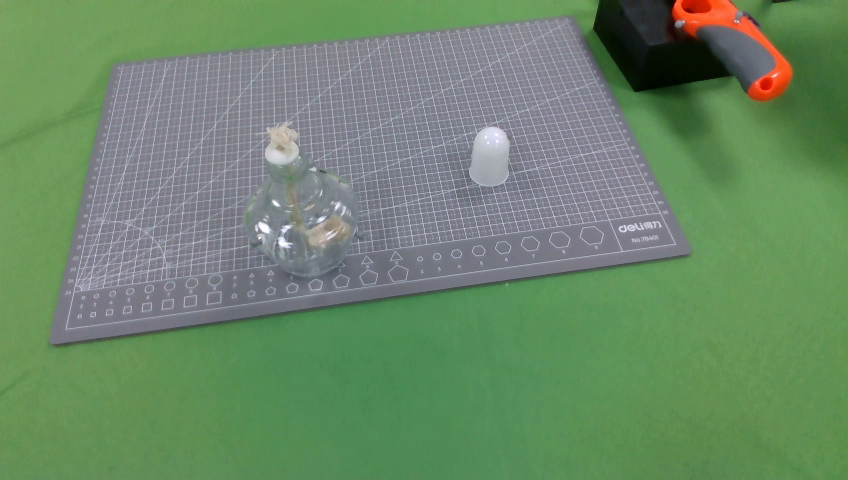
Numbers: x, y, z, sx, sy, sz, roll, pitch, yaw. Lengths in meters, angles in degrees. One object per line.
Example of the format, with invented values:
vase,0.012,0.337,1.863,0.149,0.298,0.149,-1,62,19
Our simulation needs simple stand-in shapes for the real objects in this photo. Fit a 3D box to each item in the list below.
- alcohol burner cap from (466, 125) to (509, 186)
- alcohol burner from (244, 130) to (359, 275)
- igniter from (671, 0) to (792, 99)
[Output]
alcohol burner cap,0.051,-0.069,0.473,0.034,0.048,0.033,1,53,0
alcohol burner,-0.084,-0.029,0.401,0.078,0.120,0.077,-1,56,1
igniter,0.235,-0.214,0.531,0.057,0.025,0.273,-12,53,-5
